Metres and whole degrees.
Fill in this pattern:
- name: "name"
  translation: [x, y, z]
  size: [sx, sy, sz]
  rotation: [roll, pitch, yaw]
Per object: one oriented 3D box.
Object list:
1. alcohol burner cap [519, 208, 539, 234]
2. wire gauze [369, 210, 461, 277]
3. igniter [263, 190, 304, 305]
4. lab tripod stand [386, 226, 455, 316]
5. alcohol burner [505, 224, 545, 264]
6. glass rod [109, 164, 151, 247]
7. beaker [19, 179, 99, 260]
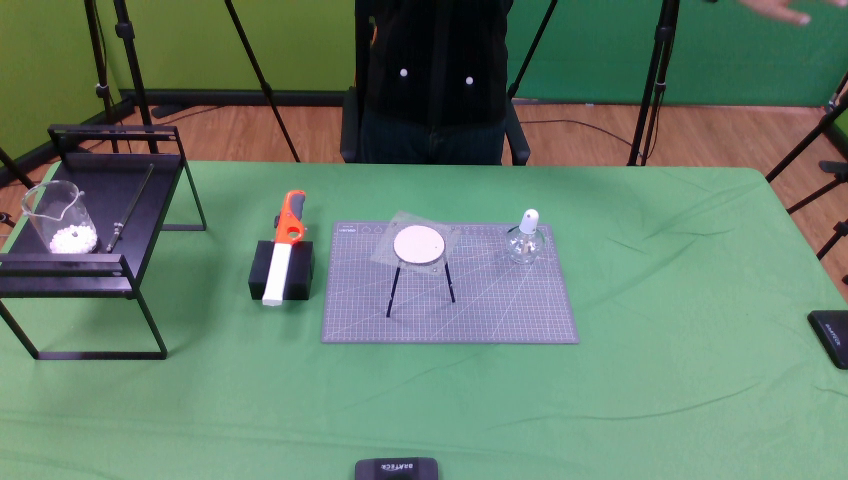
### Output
- name: "alcohol burner cap"
  translation: [0.199, -0.037, 1.132]
  size: [0.034, 0.048, 0.033]
  rotation: [4, 44, -4]
- name: "wire gauze"
  translation: [-0.013, 0.005, 1.017]
  size: [0.121, 0.011, 0.124]
  rotation: [17, 49, 12]
- name: "igniter"
  translation: [-0.255, 0.004, 1.107]
  size: [0.057, 0.025, 0.274]
  rotation: [6, 46, -7]
- name: "lab tripod stand"
  translation: [-0.013, 0.054, 1.064]
  size: [0.148, 0.132, 0.147]
  rotation: [2, 48, -2]
- name: "alcohol burner"
  translation: [0.195, -0.013, 1.158]
  size: [0.078, 0.120, 0.077]
  rotation: [1, 44, -1]
- name: "glass rod"
  translation: [-0.473, -0.061, 0.979]
  size: [0.008, 0.008, 0.198]
  rotation: [1, 46, -3]
- name: "beaker"
  translation: [-0.522, -0.024, 0.878]
  size: [0.074, 0.101, 0.083]
  rotation: [-26, 54, -25]
